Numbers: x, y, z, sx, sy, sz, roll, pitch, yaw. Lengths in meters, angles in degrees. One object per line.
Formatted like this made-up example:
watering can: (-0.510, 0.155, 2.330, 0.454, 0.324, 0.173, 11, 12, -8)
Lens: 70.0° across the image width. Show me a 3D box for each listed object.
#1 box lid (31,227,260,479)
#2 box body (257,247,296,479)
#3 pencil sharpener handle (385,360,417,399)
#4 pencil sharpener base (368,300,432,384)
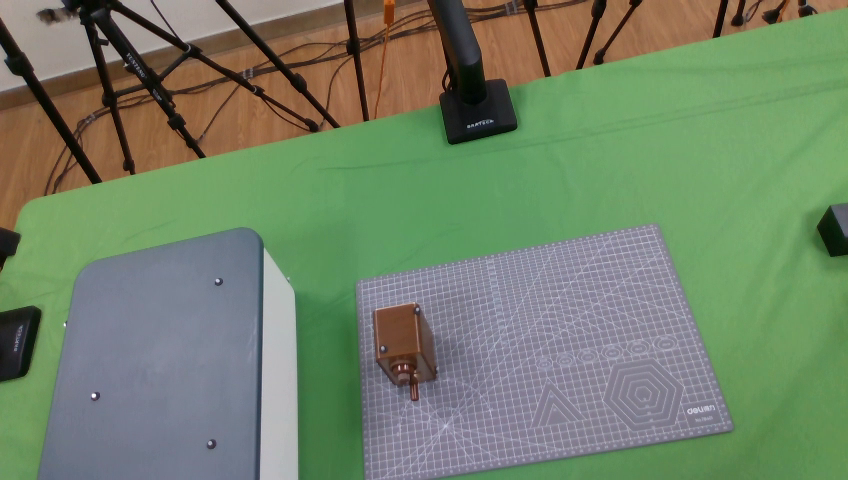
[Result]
box lid: (-0.322, 0.156, 0.720, 0.263, 0.015, 0.367, -13, 58, 4)
box body: (-0.308, 0.196, 0.781, 0.254, 0.162, 0.360, -13, 58, 4)
pencil sharpener handle: (-0.024, 0.173, 0.748, 0.036, 0.068, 0.030, -15, 57, 13)
pencil sharpener base: (-0.029, 0.137, 0.785, 0.061, 0.108, 0.076, -11, 58, 5)
